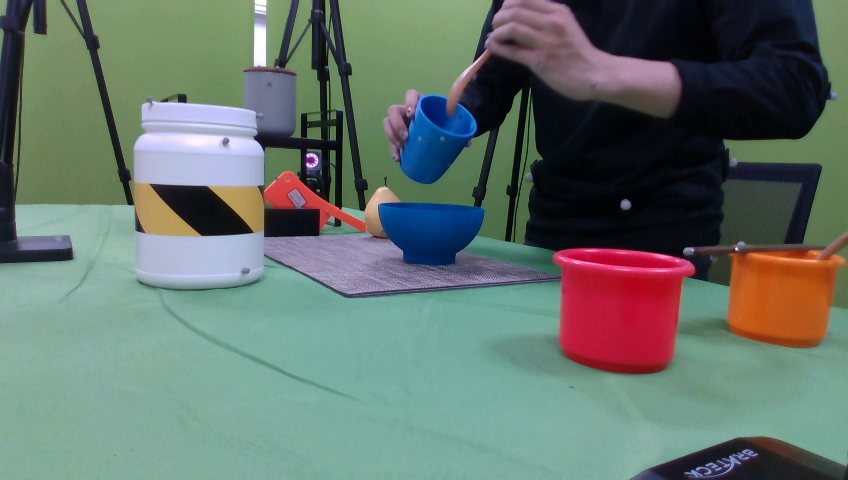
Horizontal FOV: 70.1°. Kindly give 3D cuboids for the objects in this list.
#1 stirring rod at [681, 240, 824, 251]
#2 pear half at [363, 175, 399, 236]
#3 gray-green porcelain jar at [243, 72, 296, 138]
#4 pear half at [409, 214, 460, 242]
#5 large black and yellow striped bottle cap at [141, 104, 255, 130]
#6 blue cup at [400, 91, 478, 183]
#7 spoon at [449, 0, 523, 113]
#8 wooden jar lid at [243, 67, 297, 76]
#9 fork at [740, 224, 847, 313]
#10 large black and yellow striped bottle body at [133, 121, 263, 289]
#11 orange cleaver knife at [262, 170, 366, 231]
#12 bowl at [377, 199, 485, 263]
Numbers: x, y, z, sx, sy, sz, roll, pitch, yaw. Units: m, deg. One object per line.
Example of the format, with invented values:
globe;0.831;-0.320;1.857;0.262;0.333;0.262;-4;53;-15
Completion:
stirring rod;0.289;0.005;0.525;0.177;0.006;0.014;-1;6;-26
pear half;-0.064;-0.061;1.077;0.055;0.110;0.077;9;13;39
gray-green porcelain jar;-0.322;-0.279;1.263;0.106;0.126;0.106;3;8;0
pear half;0.012;-0.019;0.848;0.070;0.031;0.088;4;11;33
large black and yellow striped bottle cap;-0.241;-0.131;0.650;0.115;0.019;0.115;3;8;0
blue cup;0.012;-0.133;0.813;0.093;0.100;0.092;17;39;-14
spoon;0.081;-0.236;0.713;0.022;0.193;0.041;27;21;-22
wooden jar lid;-0.319;-0.342;1.254;0.108;0.020;0.108;3;8;0
fork;0.323;0.013;0.485;0.028;0.018;0.207;8;-37;-6
large black and yellow striped bottle body;-0.243;-0.048;0.659;0.131;0.184;0.130;2;7;0
orange cleaver knife;-0.201;-0.057;1.136;0.212;0.077;0.012;31;-3;-31
bowl;0.008;-0.013;0.842;0.151;0.077;0.151;2;8;0
